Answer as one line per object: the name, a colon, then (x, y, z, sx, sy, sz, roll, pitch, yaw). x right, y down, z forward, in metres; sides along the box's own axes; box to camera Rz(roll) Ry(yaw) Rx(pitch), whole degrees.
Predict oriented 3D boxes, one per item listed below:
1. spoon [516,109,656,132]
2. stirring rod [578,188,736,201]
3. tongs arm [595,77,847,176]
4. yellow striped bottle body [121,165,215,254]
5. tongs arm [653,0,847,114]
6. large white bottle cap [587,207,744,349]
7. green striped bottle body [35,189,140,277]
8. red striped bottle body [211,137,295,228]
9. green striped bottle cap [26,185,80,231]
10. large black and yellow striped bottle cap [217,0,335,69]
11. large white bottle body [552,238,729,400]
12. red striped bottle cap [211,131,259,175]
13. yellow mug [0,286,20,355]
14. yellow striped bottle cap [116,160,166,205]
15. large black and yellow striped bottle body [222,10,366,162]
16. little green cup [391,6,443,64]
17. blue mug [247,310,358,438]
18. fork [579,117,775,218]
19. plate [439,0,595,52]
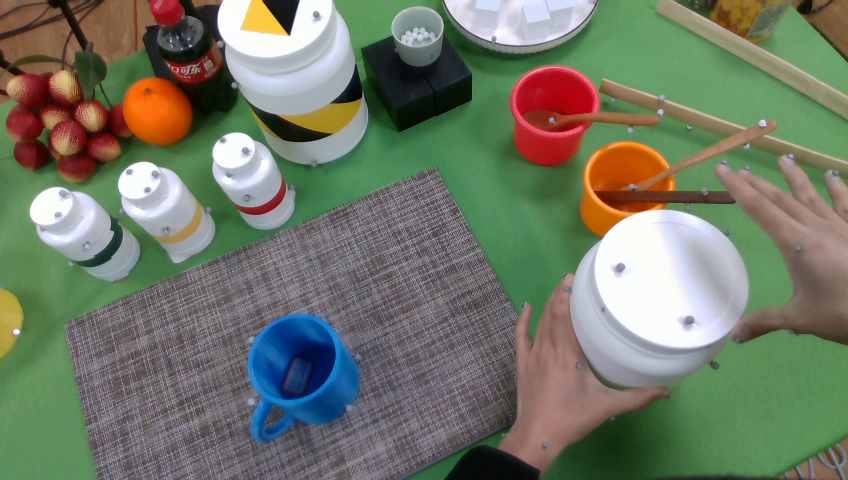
spoon: (0.169, -0.133, 0.659, 0.041, 0.192, 0.022, -42, 115, -18)
stirring rod: (0.230, -0.047, 0.619, 0.175, 0.006, 0.014, 7, 52, 53)
tongs arm: (0.392, -0.132, 0.705, 0.383, 0.027, 0.050, 24, 66, 13)
yellow striped bottle body: (-0.278, -0.037, 0.652, 0.063, 0.121, 0.062, -1, 65, 4)
tongs arm: (0.442, -0.200, 0.735, 0.385, 0.028, 0.028, 40, 67, 18)
large white bottle cap: (0.185, 0.027, 0.467, 0.115, 0.018, 0.114, -1, 65, 3)
green striped bottle body: (-0.361, -0.010, 0.645, 0.063, 0.120, 0.062, -1, 65, 3)
red striped bottle body: (-0.187, -0.066, 0.660, 0.063, 0.120, 0.062, -2, 65, 5)
green striped bottle cap: (-0.365, -0.032, 0.597, 0.044, 0.020, 0.044, 0, 65, 1)
large black and yellow striped bottle cap: (-0.146, -0.221, 0.598, 0.115, 0.019, 0.114, -2, 68, 5)
large white bottle body: (0.191, 0.065, 0.546, 0.130, 0.186, 0.129, -1, 65, 3)
red striped bottle cap: (-0.192, -0.088, 0.613, 0.044, 0.018, 0.044, 0, 63, 0)
yellow mug: (-0.493, 0.096, 0.634, 0.100, 0.064, 0.129, -15, 67, -4)
yellow striped bottle cap: (-0.282, -0.057, 0.604, 0.044, 0.019, 0.044, 0, 61, 0)
large black and yellow striped bottle body: (-0.142, -0.187, 0.677, 0.131, 0.185, 0.129, -1, 66, 3)
little green cup: (-0.008, -0.241, 0.718, 0.061, 0.039, 0.061, -1, 63, 2)
blue mug: (-0.121, 0.135, 0.571, 0.082, 0.106, 0.116, 30, 71, 16)
fork: (0.252, -0.072, 0.623, 0.207, 0.019, 0.028, -30, 56, 39)
plate: (0.122, -0.328, 0.806, 0.209, 0.038, 0.207, -1, 66, 2)
